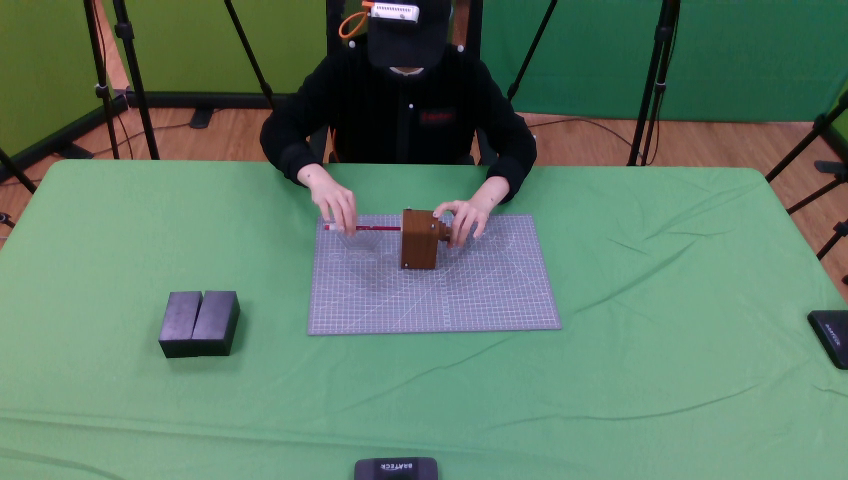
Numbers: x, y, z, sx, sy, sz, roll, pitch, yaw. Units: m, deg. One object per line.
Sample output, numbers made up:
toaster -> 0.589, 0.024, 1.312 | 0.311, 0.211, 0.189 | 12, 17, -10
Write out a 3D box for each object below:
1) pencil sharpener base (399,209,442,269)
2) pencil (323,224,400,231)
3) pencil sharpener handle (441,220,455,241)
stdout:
pencil sharpener base -> -0.007, 0.000, 1.134 | 0.077, 0.107, 0.061 | 2, 45, -2
pencil -> -0.087, -0.022, 1.114 | 0.194, 0.012, 0.012 | 2, 46, -2
pencil sharpener handle -> 0.045, -0.013, 1.131 | 0.030, 0.068, 0.036 | 2, 71, -2
